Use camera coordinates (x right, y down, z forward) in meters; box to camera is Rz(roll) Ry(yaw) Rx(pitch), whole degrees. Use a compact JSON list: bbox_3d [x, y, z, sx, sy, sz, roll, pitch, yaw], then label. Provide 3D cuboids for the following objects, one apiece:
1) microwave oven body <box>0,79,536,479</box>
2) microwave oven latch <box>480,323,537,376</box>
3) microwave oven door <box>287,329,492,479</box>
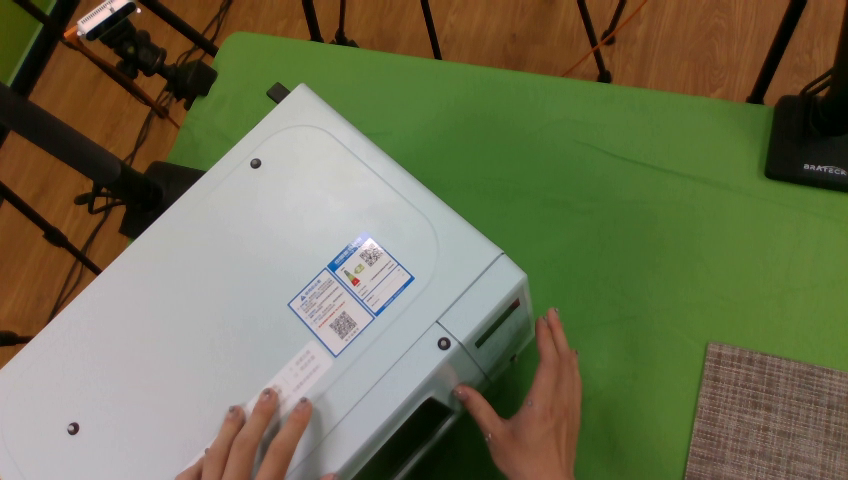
[{"bbox_3d":[-0.151,0.119,0.634,0.441,0.262,0.323,-46,68,-6],"label":"microwave oven body"},{"bbox_3d":[0.094,0.117,0.687,0.079,0.030,0.030,-43,68,-5],"label":"microwave oven latch"},{"bbox_3d":[-0.080,0.237,0.570,0.355,0.246,0.039,-46,67,-6],"label":"microwave oven door"}]
